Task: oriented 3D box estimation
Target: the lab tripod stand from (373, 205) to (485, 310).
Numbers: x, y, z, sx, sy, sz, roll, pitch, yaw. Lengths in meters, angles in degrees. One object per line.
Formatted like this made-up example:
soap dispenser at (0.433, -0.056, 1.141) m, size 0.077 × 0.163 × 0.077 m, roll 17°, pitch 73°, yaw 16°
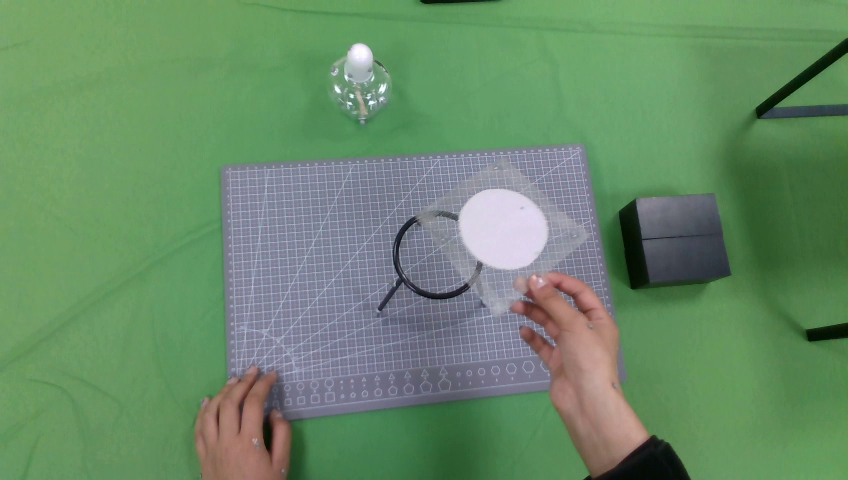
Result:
lab tripod stand at (0.011, 0.025, 0.649) m, size 0.149 × 0.132 × 0.147 m, roll 2°, pitch 75°, yaw -7°

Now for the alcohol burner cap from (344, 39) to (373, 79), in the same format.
alcohol burner cap at (-0.072, -0.203, 0.672) m, size 0.034 × 0.048 × 0.033 m, roll 1°, pitch 81°, yaw -9°

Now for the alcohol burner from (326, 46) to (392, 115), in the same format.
alcohol burner at (-0.075, -0.195, 0.706) m, size 0.078 × 0.119 × 0.077 m, roll 2°, pitch 76°, yaw -7°

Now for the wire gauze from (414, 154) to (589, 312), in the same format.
wire gauze at (0.072, -0.014, 0.570) m, size 0.121 × 0.011 × 0.124 m, roll -35°, pitch 73°, yaw -20°
